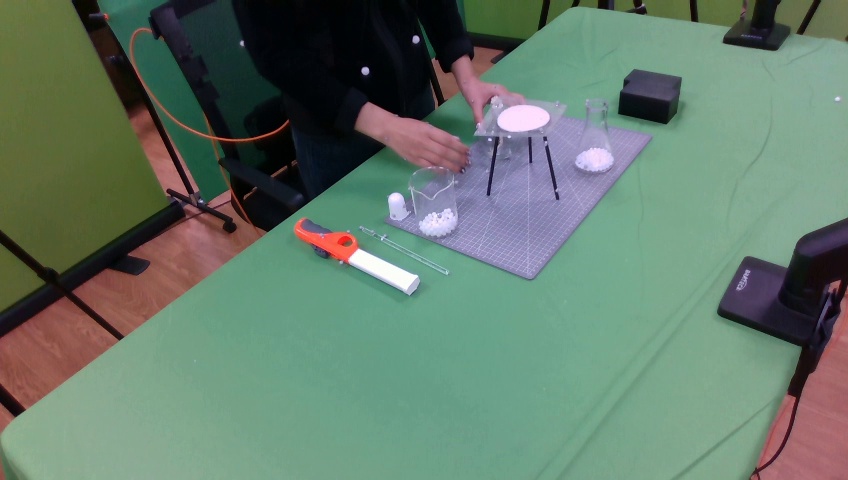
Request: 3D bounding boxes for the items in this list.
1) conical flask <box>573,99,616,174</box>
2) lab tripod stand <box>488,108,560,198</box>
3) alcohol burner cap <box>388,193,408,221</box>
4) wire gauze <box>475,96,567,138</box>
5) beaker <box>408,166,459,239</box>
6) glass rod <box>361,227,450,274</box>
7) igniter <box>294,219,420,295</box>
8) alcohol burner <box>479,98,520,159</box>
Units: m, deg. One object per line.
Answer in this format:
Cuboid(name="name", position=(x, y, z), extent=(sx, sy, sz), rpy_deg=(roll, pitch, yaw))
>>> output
Cuboid(name="conical flask", position=(0.301, -0.184, 1.061), extent=(0.075, 0.122, 0.075), rpy_deg=(-5, 40, 5))
Cuboid(name="lab tripod stand", position=(0.173, -0.150, 1.037), extent=(0.148, 0.132, 0.147), rpy_deg=(-7, 38, 6))
Cuboid(name="alcohol burner cap", position=(-0.047, -0.059, 1.043), extent=(0.034, 0.048, 0.033), rpy_deg=(-5, 41, 5))
Cuboid(name="wire gauze", position=(0.161, -0.201, 0.994), extent=(0.121, 0.011, 0.125), rpy_deg=(11, 43, 23))
Cuboid(name="beaker", position=(0.018, -0.057, 0.984), extent=(0.074, 0.101, 0.083), rpy_deg=(-6, 41, 5))
Cuboid(name="glass rod", position=(-0.034, 0.014, 0.985), extent=(0.198, 0.008, 0.008), rpy_deg=(26, 52, 34))
Cuboid(name="igniter", position=(-0.118, 0.022, 0.977), extent=(0.274, 0.025, 0.057), rpy_deg=(24, 60, 34))
Cuboid(name="alcohol burner", position=(0.141, -0.212, 1.133), extent=(0.078, 0.119, 0.077), rpy_deg=(-4, 40, 4))
